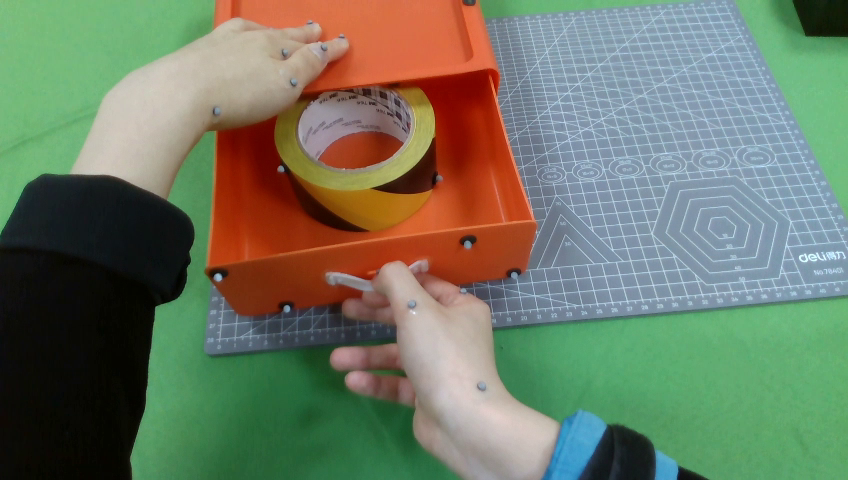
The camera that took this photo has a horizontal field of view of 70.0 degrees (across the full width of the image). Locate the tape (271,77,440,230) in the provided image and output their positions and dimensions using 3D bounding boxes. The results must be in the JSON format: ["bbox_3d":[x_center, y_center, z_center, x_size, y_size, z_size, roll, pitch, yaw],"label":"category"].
[{"bbox_3d":[-0.046,-0.068,0.433,0.117,0.053,0.116,-1,61,1],"label":"tape"}]

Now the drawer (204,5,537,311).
[{"bbox_3d":[-0.042,-0.067,0.424,0.194,0.074,0.209,-8,60,-2],"label":"drawer"}]

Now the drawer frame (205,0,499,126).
[{"bbox_3d":[-0.061,-0.172,0.486,0.202,0.083,0.211,-9,59,-3],"label":"drawer frame"}]
